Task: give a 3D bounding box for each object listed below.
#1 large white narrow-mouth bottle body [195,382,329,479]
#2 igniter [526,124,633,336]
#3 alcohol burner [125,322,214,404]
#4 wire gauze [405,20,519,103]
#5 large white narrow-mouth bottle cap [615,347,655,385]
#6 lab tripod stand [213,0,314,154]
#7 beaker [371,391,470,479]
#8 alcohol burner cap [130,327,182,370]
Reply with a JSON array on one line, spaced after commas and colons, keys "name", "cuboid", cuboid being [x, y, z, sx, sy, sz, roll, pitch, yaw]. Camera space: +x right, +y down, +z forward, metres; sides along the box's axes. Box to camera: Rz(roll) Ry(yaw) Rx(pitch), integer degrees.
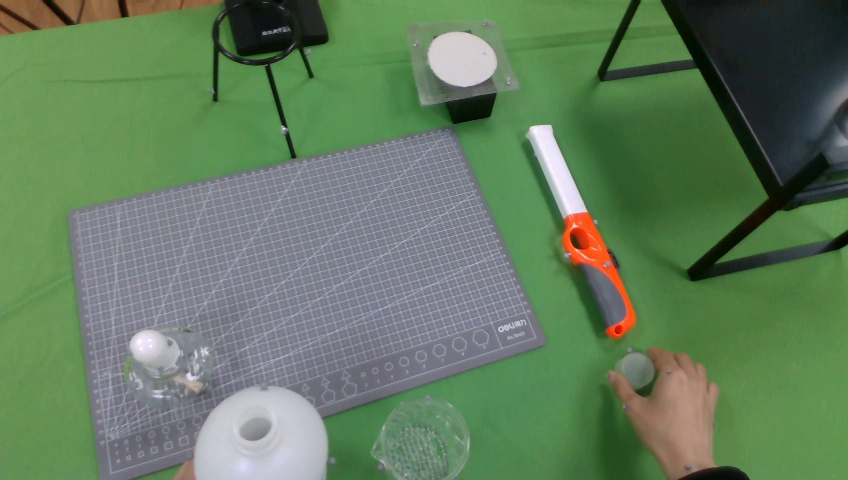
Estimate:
[{"name": "large white narrow-mouth bottle body", "cuboid": [-0.126, 0.170, 0.480, 0.102, 0.196, 0.101, 4, 56, -6]}, {"name": "igniter", "cuboid": [0.179, -0.020, 0.704, 0.057, 0.025, 0.274, -7, 65, -21]}, {"name": "alcohol burner", "cuboid": [-0.233, 0.105, 0.547, 0.078, 0.120, 0.077, 3, 62, -6]}, {"name": "wire gauze", "cuboid": [0.045, -0.224, 0.744, 0.122, 0.011, 0.124, -8, 65, -10]}, {"name": "large white narrow-mouth bottle cap", "cuboid": [0.222, 0.132, 0.639, 0.038, 0.024, 0.037, 2, 63, -4]}, {"name": "lab tripod stand", "cuboid": [-0.176, -0.190, 0.689, 0.149, 0.132, 0.147, 3, 64, -7]}, {"name": "beaker", "cuboid": [-0.006, 0.186, 0.545, 0.084, 0.101, 0.073, -9, 65, -9]}, {"name": "alcohol burner cap", "cuboid": [-0.230, 0.091, 0.514, 0.034, 0.048, 0.033, 2, 69, -4]}]
